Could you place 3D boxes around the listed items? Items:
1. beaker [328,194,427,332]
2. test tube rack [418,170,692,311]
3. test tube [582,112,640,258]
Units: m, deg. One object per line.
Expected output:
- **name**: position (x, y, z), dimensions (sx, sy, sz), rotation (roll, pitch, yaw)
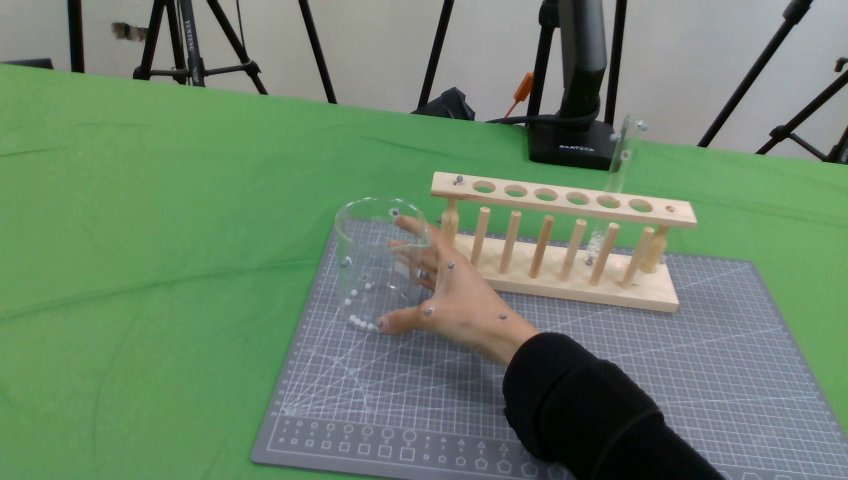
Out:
- **beaker**: position (-0.039, 0.023, 0.515), dimensions (0.083, 0.101, 0.073), rotation (19, 40, 16)
- **test tube rack**: position (0.120, 0.000, 0.577), dimensions (0.242, 0.086, 0.066), rotation (7, 38, 2)
- **test tube**: position (0.171, -0.046, 0.562), dimensions (0.017, 0.151, 0.017), rotation (5, 34, -3)
